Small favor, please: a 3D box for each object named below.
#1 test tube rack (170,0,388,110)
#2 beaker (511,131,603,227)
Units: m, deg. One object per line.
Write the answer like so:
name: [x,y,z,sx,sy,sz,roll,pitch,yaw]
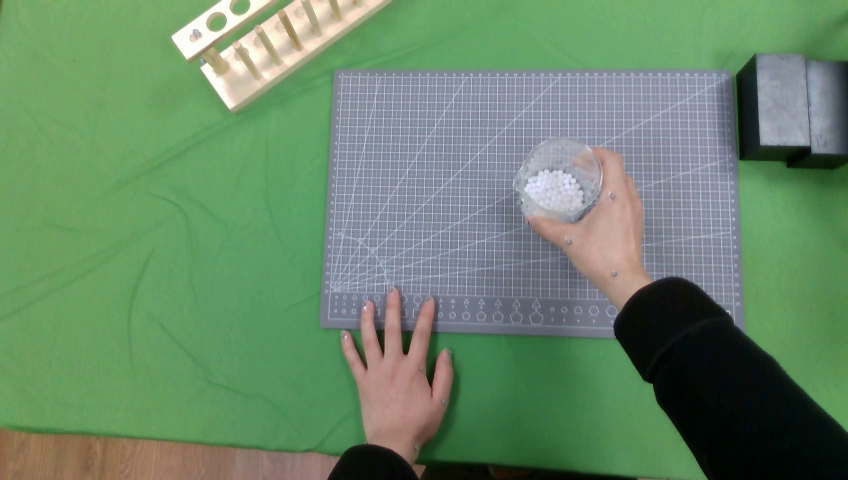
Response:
test tube rack: [-0.149,-0.255,0.677,0.242,0.085,0.066,-36,80,-2]
beaker: [0.127,-0.054,0.603,0.084,0.100,0.073,-10,79,4]
